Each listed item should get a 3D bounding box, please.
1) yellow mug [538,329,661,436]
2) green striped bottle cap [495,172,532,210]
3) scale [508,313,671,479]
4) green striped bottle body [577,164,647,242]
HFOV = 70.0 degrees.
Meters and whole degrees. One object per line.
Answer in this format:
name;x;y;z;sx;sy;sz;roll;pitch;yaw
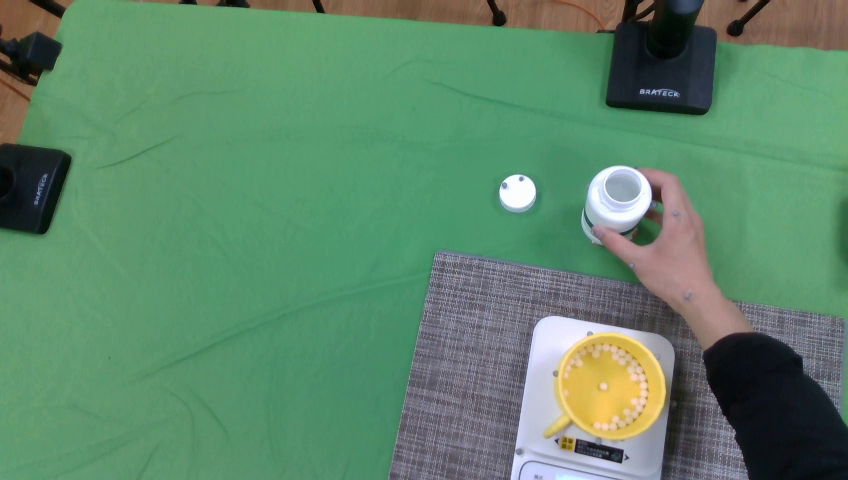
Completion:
yellow mug;0.166;0.152;0.604;0.131;0.064;0.099;-39;74;-2
green striped bottle cap;0.108;-0.060;0.731;0.044;0.020;0.044;-1;80;9
scale;0.176;0.184;0.644;0.148;0.032;0.200;9;78;11
green striped bottle body;0.203;-0.041;0.656;0.063;0.120;0.063;-2;75;9
